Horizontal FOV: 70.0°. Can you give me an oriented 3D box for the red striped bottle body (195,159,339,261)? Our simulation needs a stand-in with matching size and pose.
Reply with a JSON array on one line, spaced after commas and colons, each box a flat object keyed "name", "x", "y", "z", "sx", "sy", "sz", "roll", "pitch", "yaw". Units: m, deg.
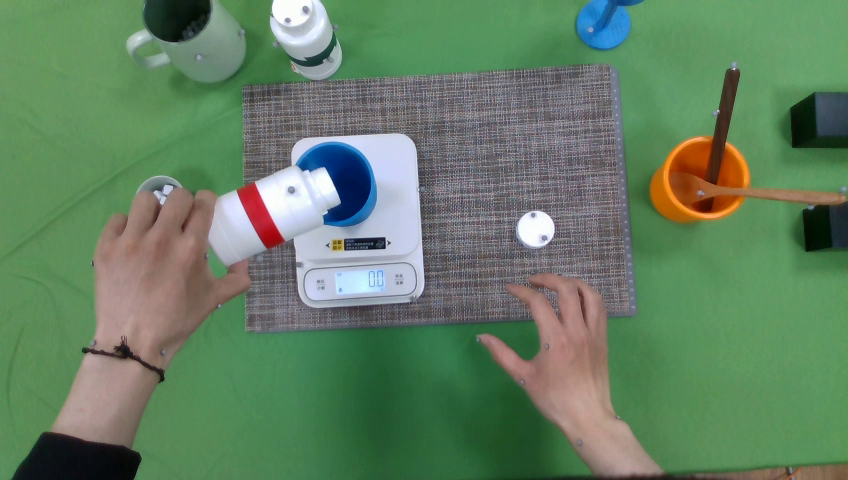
[{"name": "red striped bottle body", "x": -0.141, "y": -0.032, "z": 0.559, "sx": 0.120, "sy": 0.063, "sz": 0.063, "roll": -26, "pitch": 83, "yaw": -9}]

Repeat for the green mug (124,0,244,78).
[{"name": "green mug", "x": -0.282, "y": -0.240, "z": 0.704, "sx": 0.125, "sy": 0.105, "sz": 0.092, "roll": -25, "pitch": 84, "yaw": 0}]

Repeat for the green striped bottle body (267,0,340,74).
[{"name": "green striped bottle body", "x": -0.138, "y": -0.241, "z": 0.691, "sx": 0.063, "sy": 0.119, "sz": 0.063, "roll": 0, "pitch": 83, "yaw": 3}]

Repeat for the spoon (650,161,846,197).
[{"name": "spoon", "x": 0.333, "y": -0.061, "z": 0.641, "sx": 0.022, "sy": 0.192, "sz": 0.041, "roll": 9, "pitch": 92, "yaw": -40}]

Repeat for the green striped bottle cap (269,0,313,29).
[{"name": "green striped bottle cap", "x": -0.141, "y": -0.247, "z": 0.639, "sx": 0.044, "sy": 0.020, "sz": 0.044, "roll": 0, "pitch": 83, "yaw": 2}]

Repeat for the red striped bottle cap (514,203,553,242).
[{"name": "red striped bottle cap", "x": 0.129, "y": -0.021, "z": 0.707, "sx": 0.044, "sy": 0.018, "sz": 0.044, "roll": 0, "pitch": 82, "yaw": -2}]

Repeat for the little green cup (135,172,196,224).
[{"name": "little green cup", "x": -0.303, "y": -0.047, "z": 0.718, "sx": 0.061, "sy": 0.039, "sz": 0.061, "roll": 0, "pitch": 84, "yaw": 1}]

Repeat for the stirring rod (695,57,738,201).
[{"name": "stirring rod", "x": 0.311, "y": -0.112, "z": 0.647, "sx": 0.014, "sy": 0.178, "sz": 0.006, "roll": 4, "pitch": 44, "yaw": 16}]

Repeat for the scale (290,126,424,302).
[{"name": "scale", "x": -0.079, "y": -0.032, "z": 0.709, "sx": 0.148, "sy": 0.031, "sz": 0.200, "roll": -4, "pitch": 85, "yaw": 2}]

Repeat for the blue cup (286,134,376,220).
[{"name": "blue cup", "x": -0.090, "y": -0.059, "z": 0.646, "sx": 0.092, "sy": 0.100, "sz": 0.092, "roll": 0, "pitch": 86, "yaw": 2}]

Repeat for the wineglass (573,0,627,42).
[{"name": "wineglass", "x": 0.210, "y": -0.283, "z": 0.655, "sx": 0.074, "sy": 0.172, "sz": 0.073, "roll": 0, "pitch": 84, "yaw": 3}]
